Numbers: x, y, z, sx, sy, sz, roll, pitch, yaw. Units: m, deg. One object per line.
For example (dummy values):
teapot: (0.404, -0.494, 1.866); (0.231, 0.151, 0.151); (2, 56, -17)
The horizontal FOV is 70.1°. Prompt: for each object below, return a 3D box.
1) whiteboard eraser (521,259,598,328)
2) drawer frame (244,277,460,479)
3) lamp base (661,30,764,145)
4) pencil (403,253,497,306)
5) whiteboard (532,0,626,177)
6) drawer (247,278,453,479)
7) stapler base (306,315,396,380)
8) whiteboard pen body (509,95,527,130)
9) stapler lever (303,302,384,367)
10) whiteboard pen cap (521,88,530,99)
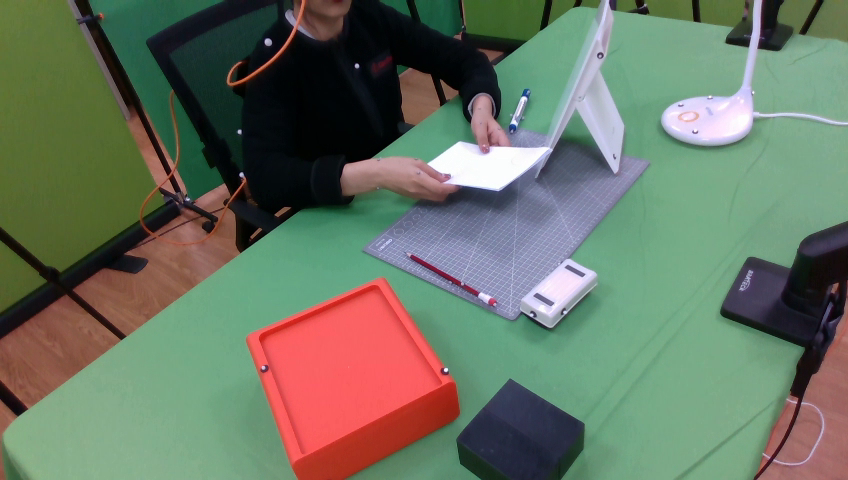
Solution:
whiteboard eraser: (0.189, 0.076, 0.843); (0.055, 0.042, 0.113); (29, 53, 37)
drawer frame: (-0.093, 0.167, 0.755); (0.202, 0.083, 0.211); (-23, 43, -17)
lamp base: (0.535, -0.287, 1.096); (0.179, 0.181, 0.159); (-10, 40, -4)
pencil: (0.034, 0.056, 0.914); (0.192, 0.012, 0.012); (27, 52, 38)
whiteboard: (0.321, -0.258, 1.050); (0.144, 0.306, 0.217); (21, 45, 5)
drawer: (-0.096, 0.167, 0.758); (0.195, 0.073, 0.210); (-22, 43, -16)
stapler base: (-0.101, 0.139, 0.819); (0.131, 0.024, 0.041); (-31, 37, -13)
whiteboard pen body: (0.199, -0.273, 1.261); (0.017, 0.017, 0.140); (7, 44, 18)
stapler lever: (-0.108, 0.123, 0.805); (0.118, 0.040, 0.026); (-27, 36, -15)
whiteboard pen cap: (0.218, -0.312, 1.301); (0.018, 0.018, 0.033); (7, 46, 18)
